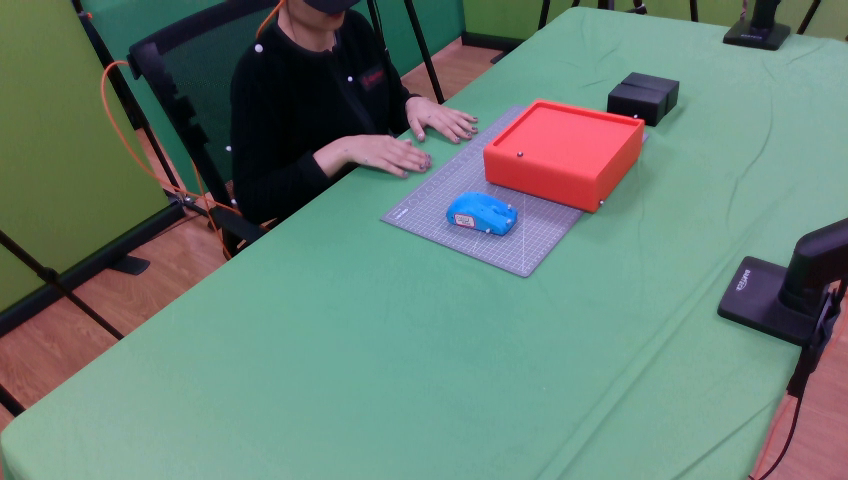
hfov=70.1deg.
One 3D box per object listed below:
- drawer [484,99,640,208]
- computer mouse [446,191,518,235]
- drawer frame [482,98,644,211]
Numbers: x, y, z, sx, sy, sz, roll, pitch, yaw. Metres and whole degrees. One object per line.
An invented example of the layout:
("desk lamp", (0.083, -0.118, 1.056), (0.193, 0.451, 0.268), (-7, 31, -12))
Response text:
("drawer", (0.244, -0.158, 1.073), (0.210, 0.073, 0.195), (22, 48, 31))
("computer mouse", (0.097, -0.048, 1.004), (0.116, 0.041, 0.063), (18, 45, 23))
("drawer frame", (0.246, -0.158, 1.071), (0.212, 0.083, 0.202), (21, 48, 30))
